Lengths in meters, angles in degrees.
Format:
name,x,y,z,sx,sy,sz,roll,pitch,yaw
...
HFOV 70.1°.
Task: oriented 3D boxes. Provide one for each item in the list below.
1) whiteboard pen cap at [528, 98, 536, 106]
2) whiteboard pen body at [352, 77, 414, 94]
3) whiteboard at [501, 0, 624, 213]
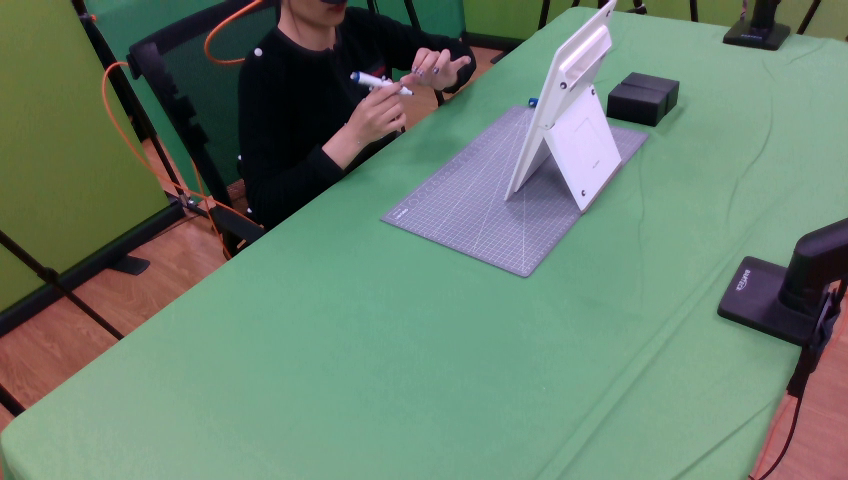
name,x,y,z,sx,sy,sz,roll,pitch,yaw
whiteboard pen cap,0.239,-0.293,1.288,0.033,0.018,0.018,23,50,35
whiteboard pen body,-0.071,-0.278,1.094,0.142,0.017,0.017,-2,28,-44
whiteboard,0.271,-0.189,0.977,0.143,0.306,0.218,34,53,16
